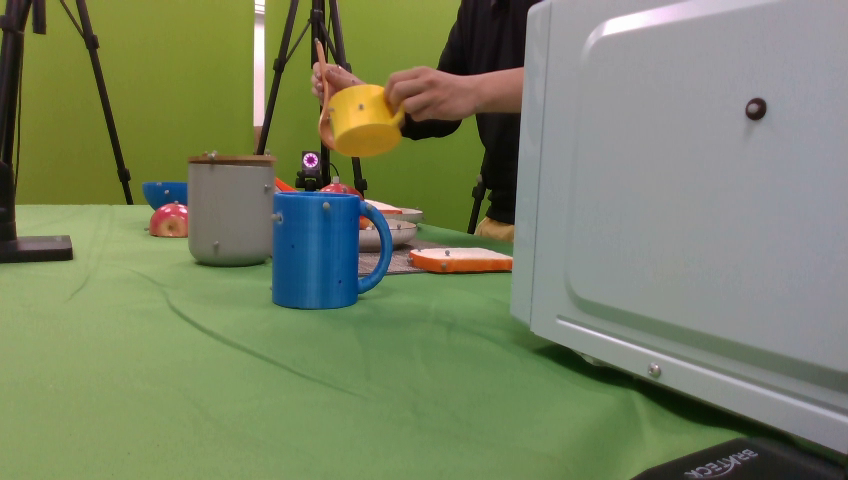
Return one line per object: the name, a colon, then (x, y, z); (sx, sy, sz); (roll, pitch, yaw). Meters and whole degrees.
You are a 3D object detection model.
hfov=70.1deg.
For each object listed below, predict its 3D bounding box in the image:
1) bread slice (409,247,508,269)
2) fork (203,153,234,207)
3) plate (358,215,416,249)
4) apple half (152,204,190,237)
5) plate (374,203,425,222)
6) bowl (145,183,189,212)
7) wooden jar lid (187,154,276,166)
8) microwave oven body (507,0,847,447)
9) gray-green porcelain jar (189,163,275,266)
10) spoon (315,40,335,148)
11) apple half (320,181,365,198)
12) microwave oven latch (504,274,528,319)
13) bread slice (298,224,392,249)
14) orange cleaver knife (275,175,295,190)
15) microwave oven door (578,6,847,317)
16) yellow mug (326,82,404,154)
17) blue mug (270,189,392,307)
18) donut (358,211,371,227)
bread slice: (0.048, 0.022, 0.816); (0.132, 0.019, 0.104); (1, 6, -24)
fork: (-0.480, -0.134, 1.411); (0.028, 0.018, 0.207); (1, -35, 0)
plate: (-0.116, -0.014, 0.967); (0.208, 0.039, 0.207); (2, 7, 0)
apple half: (-0.415, -0.034, 1.017); (0.081, 0.053, 0.074); (1, 10, -8)
plate: (-0.102, -0.053, 1.299); (0.209, 0.038, 0.209); (2, 8, 0)
bowl: (-0.459, -0.069, 1.175); (0.151, 0.077, 0.151); (2, 7, 0)
wooden jar lid: (-0.244, -0.097, 0.771); (0.108, 0.020, 0.108); (-1, 7, 0)
microwave oven body: (0.331, -0.042, 0.425); (0.444, 0.260, 0.324); (-2, 8, -31)
gray-green porcelain jar: (-0.246, -0.034, 0.780); (0.106, 0.126, 0.106); (2, 7, 0)
spoon: (-0.165, -0.243, 1.002); (0.021, 0.193, 0.042); (-9, -12, 23)
apple half: (-0.130, -0.077, 0.952); (0.081, 0.033, 0.081); (3, 15, -1)
microwave oven latch: (0.100, 0.041, 0.471); (0.079, 0.029, 0.030); (-1, 7, -27)
bread slice: (-0.120, -0.007, 0.970); (0.106, 0.018, 0.135); (6, 13, 41)
orange cleaver knife: (-0.283, -0.086, 1.343); (0.212, 0.077, 0.012); (24, -16, -41)
microwave oven door: (0.294, -0.067, 0.570); (0.358, 0.243, 0.039); (-3, 9, -31)
yellow mug: (-0.079, -0.184, 0.885); (0.130, 0.064, 0.100); (-24, -20, 33)
blue mug: (-0.089, 0.005, 0.588); (0.117, 0.106, 0.082); (0, 7, -10)
donut: (-0.132, -0.041, 0.959); (0.099, 0.048, 0.099); (3, 8, 0)
